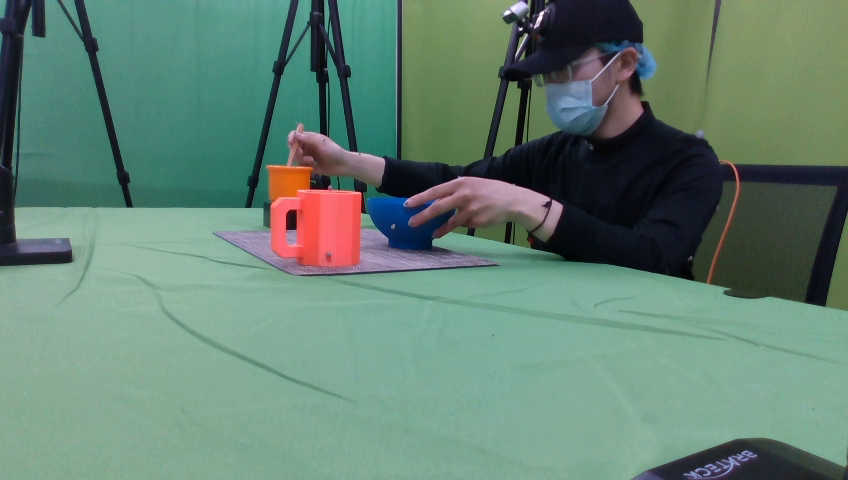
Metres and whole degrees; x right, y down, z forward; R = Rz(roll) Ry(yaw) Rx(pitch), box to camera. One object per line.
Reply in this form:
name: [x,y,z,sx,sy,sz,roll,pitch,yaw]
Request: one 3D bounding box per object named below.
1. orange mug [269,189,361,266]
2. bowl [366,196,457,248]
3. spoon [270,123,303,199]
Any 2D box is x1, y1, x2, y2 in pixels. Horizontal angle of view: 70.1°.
orange mug: [-0.142,-0.019,0.796,0.127,0.100,0.083,2,5,-39]
bowl: [-0.022,-0.030,1.001,0.151,0.077,0.151,2,7,0]
spoon: [-0.273,-0.163,1.235,0.041,0.193,0.021,8,-24,5]
